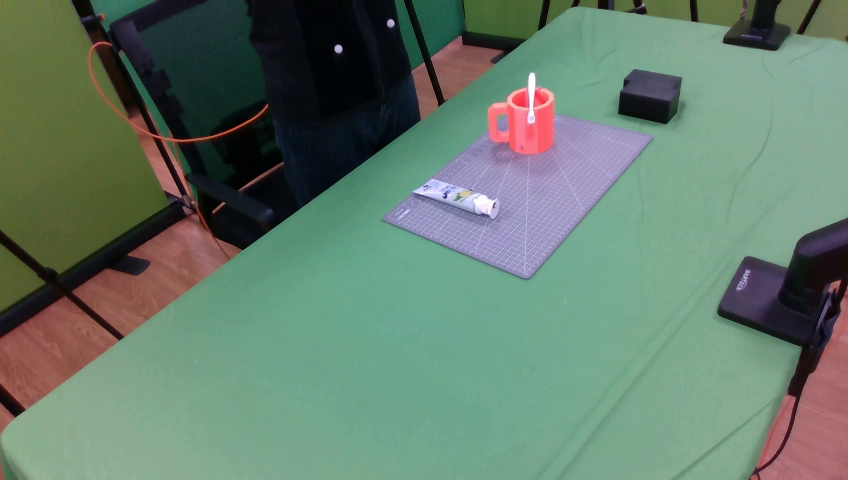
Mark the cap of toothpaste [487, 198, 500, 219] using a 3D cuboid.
[{"bbox_3d":[0.115,-0.054,1.007,0.011,0.037,0.037,17,47,24],"label":"cap of toothpaste"}]

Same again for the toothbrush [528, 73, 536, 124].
[{"bbox_3d":[0.198,-0.266,1.114,0.014,0.017,0.181,-5,40,15],"label":"toothbrush"}]

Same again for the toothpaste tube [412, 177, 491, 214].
[{"bbox_3d":[0.056,-0.079,1.057,0.163,0.034,0.055,22,42,37],"label":"toothpaste tube"}]

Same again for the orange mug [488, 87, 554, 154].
[{"bbox_3d":[0.185,-0.227,1.151,0.126,0.101,0.083,1,41,5],"label":"orange mug"}]
